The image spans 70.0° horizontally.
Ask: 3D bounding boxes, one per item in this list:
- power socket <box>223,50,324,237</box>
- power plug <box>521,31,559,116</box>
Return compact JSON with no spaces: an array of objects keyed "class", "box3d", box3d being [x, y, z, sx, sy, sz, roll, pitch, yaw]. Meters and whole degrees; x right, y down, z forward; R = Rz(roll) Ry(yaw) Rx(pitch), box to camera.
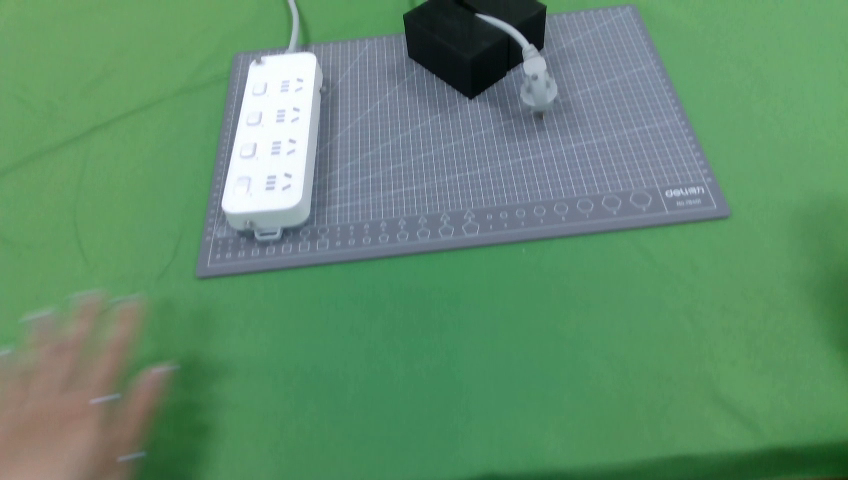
[{"class":"power socket","box3d":[-0.139,-0.103,0.578,0.072,0.033,0.224,-4,55,3]},{"class":"power plug","box3d":[0.110,-0.156,0.573,0.035,0.053,0.072,0,62,14]}]
